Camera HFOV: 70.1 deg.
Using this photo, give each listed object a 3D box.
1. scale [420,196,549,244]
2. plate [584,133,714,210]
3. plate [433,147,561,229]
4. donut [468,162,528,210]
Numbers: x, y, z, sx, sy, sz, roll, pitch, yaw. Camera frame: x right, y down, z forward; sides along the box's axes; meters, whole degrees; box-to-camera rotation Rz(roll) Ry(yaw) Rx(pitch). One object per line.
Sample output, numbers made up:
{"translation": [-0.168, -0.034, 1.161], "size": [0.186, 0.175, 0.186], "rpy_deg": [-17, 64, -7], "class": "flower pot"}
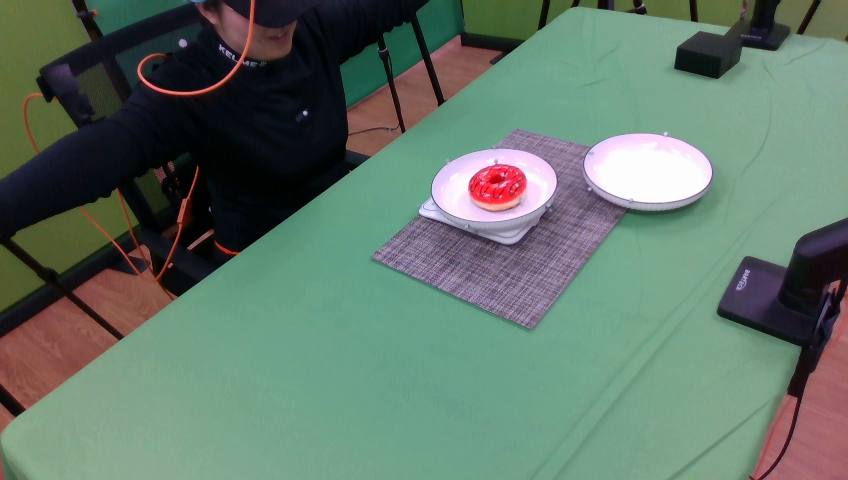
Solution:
{"translation": [0.106, -0.065, 1.029], "size": [0.199, 0.032, 0.149], "rpy_deg": [21, 48, 32], "class": "scale"}
{"translation": [0.379, -0.113, 1.030], "size": [0.209, 0.038, 0.208], "rpy_deg": [-4, 41, 4], "class": "plate"}
{"translation": [0.120, -0.082, 0.996], "size": [0.207, 0.039, 0.206], "rpy_deg": [-6, 40, 5], "class": "plate"}
{"translation": [0.121, -0.088, 0.985], "size": [0.099, 0.048, 0.098], "rpy_deg": [-7, 42, 7], "class": "donut"}
